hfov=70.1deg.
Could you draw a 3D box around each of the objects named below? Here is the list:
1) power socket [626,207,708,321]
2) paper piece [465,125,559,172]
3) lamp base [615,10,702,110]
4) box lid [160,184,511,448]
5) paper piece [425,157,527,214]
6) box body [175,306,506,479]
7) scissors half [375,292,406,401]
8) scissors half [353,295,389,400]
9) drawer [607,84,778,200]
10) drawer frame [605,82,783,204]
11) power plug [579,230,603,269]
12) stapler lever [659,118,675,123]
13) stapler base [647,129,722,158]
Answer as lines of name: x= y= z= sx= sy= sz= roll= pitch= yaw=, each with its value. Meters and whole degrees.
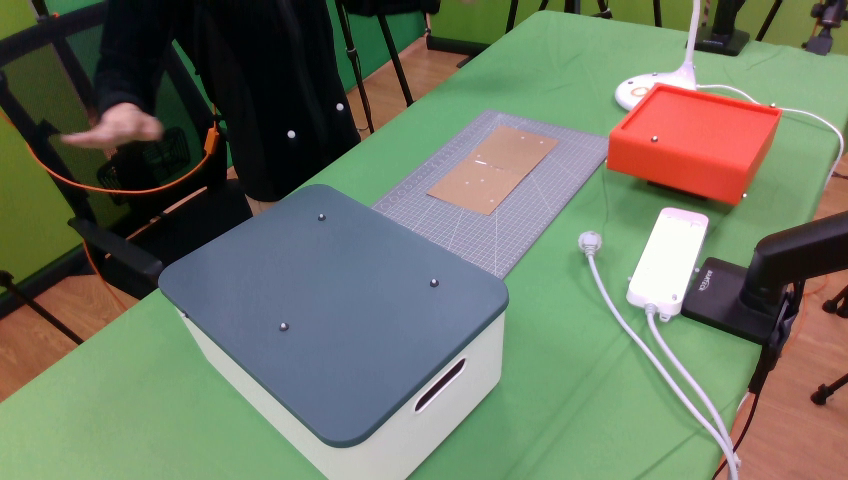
power socket: x=0.360 y=0.026 z=0.886 sx=0.072 sy=0.033 sz=0.227 roll=16 pitch=46 yaw=26
paper piece: x=0.171 y=-0.177 z=1.168 sx=0.137 sy=0.009 sz=0.136 roll=21 pitch=44 yaw=31
lamp base: x=0.484 y=-0.364 z=1.211 sx=0.180 sy=0.181 sz=0.159 roll=-15 pitch=41 yaw=-14
box lid: x=-0.114 y=0.054 z=0.705 sx=0.368 sy=0.015 sz=0.264 roll=29 pitch=51 yaw=34
paper piece: x=0.094 y=-0.102 z=1.089 sx=0.134 sy=0.004 sz=0.136 roll=22 pitch=48 yaw=30
box body: x=-0.105 y=0.111 z=0.751 sx=0.361 sy=0.161 sz=0.255 roll=28 pitch=52 yaw=35
scissors half: x=-0.048 y=0.139 z=0.817 sx=0.040 sy=0.013 sz=0.174 roll=-3 pitch=45 yaw=7
scissors half: x=-0.068 y=0.142 z=0.818 sx=0.040 sy=0.013 sz=0.174 roll=-19 pitch=44 yaw=-2
drawer: x=0.438 y=-0.167 z=0.995 sx=0.210 sy=0.073 sz=0.195 roll=23 pitch=48 yaw=30
drawer frame: x=0.441 y=-0.167 z=0.995 sx=0.212 sy=0.083 sz=0.202 roll=23 pitch=48 yaw=30
power plug: x=0.245 y=0.018 z=0.909 sx=0.035 sy=0.053 sz=0.072 roll=16 pitch=65 yaw=21
stapler lever: x=0.436 y=-0.193 z=1.014 sx=0.118 sy=0.040 sz=0.026 roll=-15 pitch=24 yaw=-16
stapler base: x=0.439 y=-0.167 z=1.023 sx=0.131 sy=0.024 sz=0.041 roll=-17 pitch=24 yaw=-15
